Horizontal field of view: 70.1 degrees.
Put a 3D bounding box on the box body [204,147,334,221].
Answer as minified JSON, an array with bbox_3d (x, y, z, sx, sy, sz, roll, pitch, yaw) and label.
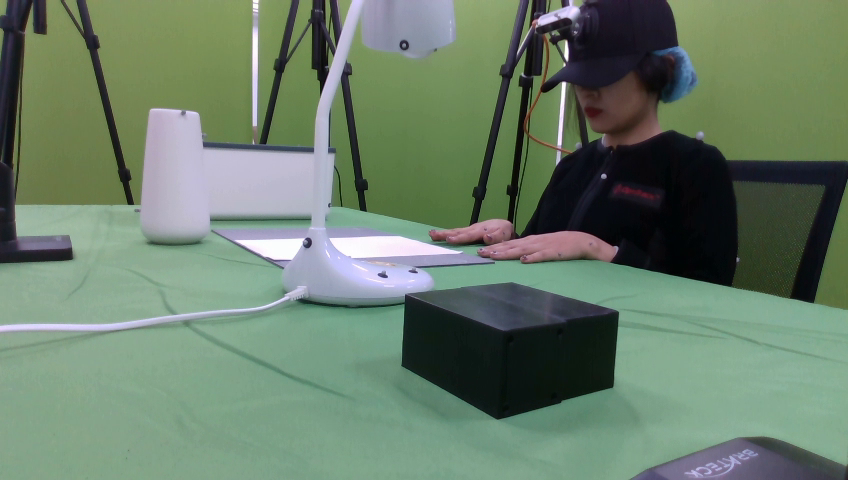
[{"bbox_3d":[-0.413,-0.134,1.379,0.366,0.160,0.253,-2,9,-31],"label":"box body"}]

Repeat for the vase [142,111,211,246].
[{"bbox_3d":[-0.378,-0.093,0.920,0.098,0.200,0.098,2,9,0],"label":"vase"}]

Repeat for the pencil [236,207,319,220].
[{"bbox_3d":[-0.347,-0.062,1.437,0.194,0.012,0.012,7,7,-6],"label":"pencil"}]

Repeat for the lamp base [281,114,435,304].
[{"bbox_3d":[-0.071,-0.034,0.614,0.160,0.180,0.180,6,10,27],"label":"lamp base"}]

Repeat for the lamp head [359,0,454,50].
[{"bbox_3d":[-0.024,-0.282,0.674,0.112,0.123,0.112,-3,38,3],"label":"lamp head"}]

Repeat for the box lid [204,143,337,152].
[{"bbox_3d":[-0.407,-0.209,1.370,0.373,0.015,0.262,-3,9,-30],"label":"box lid"}]

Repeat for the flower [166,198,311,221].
[{"bbox_3d":[-0.397,-0.058,1.355,0.044,0.038,0.364,-37,-25,32],"label":"flower"}]
